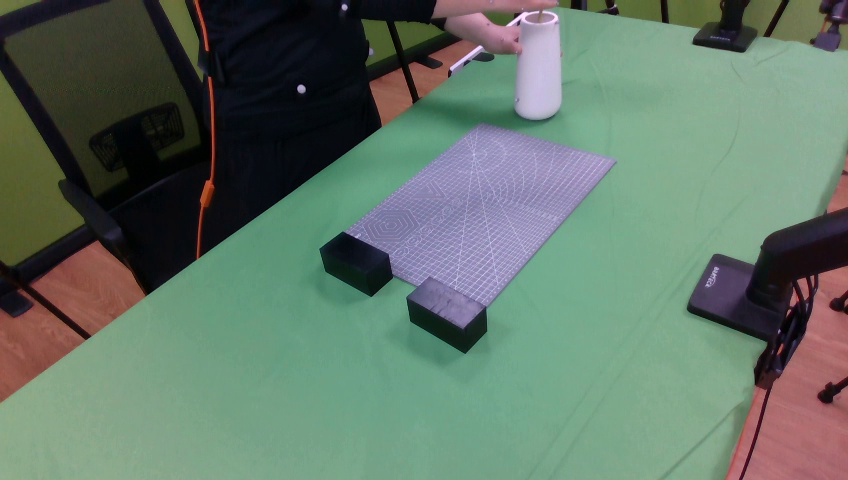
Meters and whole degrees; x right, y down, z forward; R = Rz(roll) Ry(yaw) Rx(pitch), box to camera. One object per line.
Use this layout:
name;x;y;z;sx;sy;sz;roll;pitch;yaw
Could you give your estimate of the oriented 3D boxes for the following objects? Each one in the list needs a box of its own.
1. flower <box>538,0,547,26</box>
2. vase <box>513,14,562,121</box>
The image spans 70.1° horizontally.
flower;0.216;-0.456;1.039;0.038;0.363;0.043;-15;56;-12
vase;0.225;-0.336;1.197;0.098;0.201;0.097;-5;42;5
